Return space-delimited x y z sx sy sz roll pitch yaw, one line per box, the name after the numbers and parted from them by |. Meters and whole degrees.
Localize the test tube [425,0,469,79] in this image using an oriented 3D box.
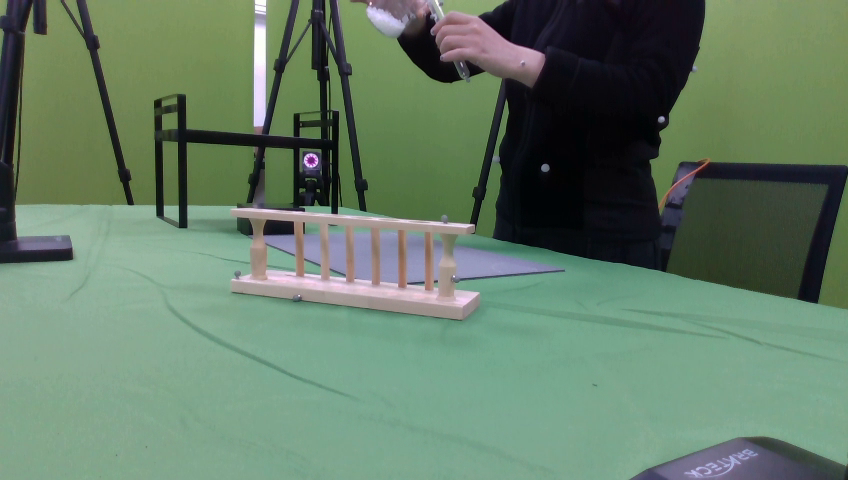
0.035 -0.305 0.906 0.017 0.150 0.017 -20 -16 -6 | test tube

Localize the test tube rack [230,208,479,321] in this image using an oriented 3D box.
-0.069 0.017 0.598 0.242 0.085 0.067 5 8 18 | test tube rack

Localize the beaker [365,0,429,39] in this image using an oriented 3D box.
-0.040 -0.378 0.966 0.074 0.083 0.100 -4 -31 -50 | beaker
